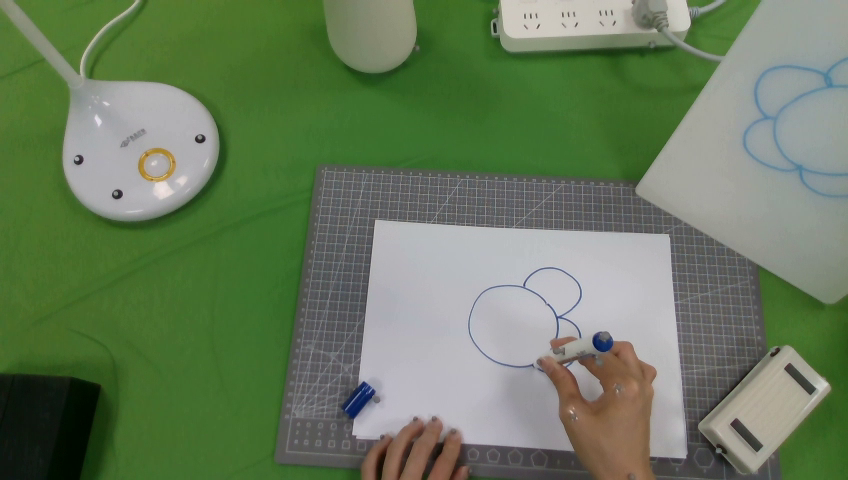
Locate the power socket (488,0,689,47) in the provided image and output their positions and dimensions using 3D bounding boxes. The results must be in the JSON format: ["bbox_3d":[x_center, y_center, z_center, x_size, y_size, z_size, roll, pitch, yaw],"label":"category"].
[{"bbox_3d":[0.187,-0.259,0.685,0.227,0.033,0.071,-2,72,-1],"label":"power socket"}]

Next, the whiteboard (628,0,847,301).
[{"bbox_3d":[0.366,-0.128,0.527,0.216,0.307,0.143,33,53,12],"label":"whiteboard"}]

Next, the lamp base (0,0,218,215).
[{"bbox_3d":[-0.309,-0.134,0.567,0.178,0.181,0.160,35,74,15],"label":"lamp base"}]

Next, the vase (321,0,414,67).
[{"bbox_3d":[-0.062,-0.263,0.601,0.098,0.201,0.097,-1,70,2],"label":"vase"}]

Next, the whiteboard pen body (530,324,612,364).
[{"bbox_3d":[0.116,0.090,0.506,0.017,0.141,0.017,4,71,-12],"label":"whiteboard pen body"}]

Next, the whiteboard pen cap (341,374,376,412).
[{"bbox_3d":[-0.059,0.140,0.554,0.018,0.018,0.033,37,73,13],"label":"whiteboard pen cap"}]

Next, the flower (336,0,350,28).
[{"bbox_3d":[-0.044,-0.281,0.520,0.044,0.361,0.038,-40,92,-21],"label":"flower"}]

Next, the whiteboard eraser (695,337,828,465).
[{"bbox_3d":[0.298,0.141,0.538,0.112,0.042,0.055,-39,74,-12],"label":"whiteboard eraser"}]

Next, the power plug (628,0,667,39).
[{"bbox_3d":[0.238,-0.240,0.654,0.035,0.053,0.072,8,77,3],"label":"power plug"}]
